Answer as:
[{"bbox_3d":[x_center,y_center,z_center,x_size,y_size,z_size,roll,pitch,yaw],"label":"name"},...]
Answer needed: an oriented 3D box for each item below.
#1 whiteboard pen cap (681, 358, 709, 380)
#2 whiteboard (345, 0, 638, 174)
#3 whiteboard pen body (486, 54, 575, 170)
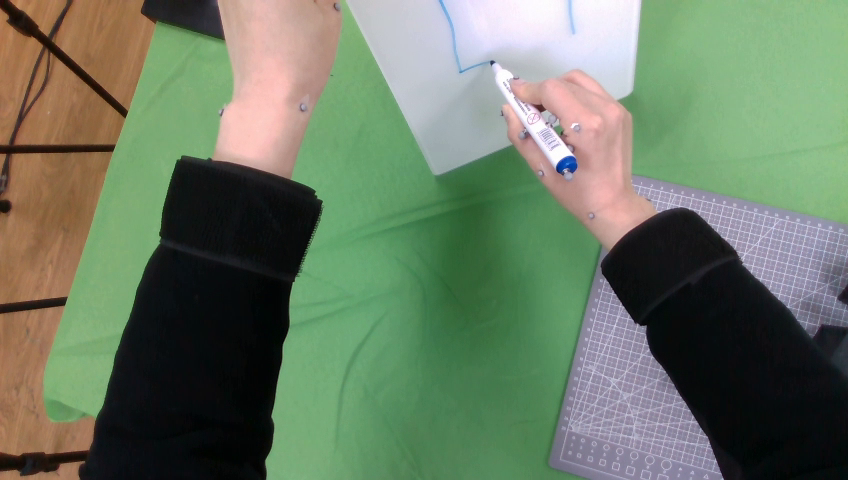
[{"bbox_3d":[0.256,0.121,0.574,0.018,0.033,0.018,0,89,5],"label":"whiteboard pen cap"},{"bbox_3d":[0.051,-0.223,0.509,0.217,0.308,0.142,-21,65,6],"label":"whiteboard"},{"bbox_3d":[0.075,-0.102,0.456,0.017,0.017,0.139,-28,53,5],"label":"whiteboard pen body"}]
